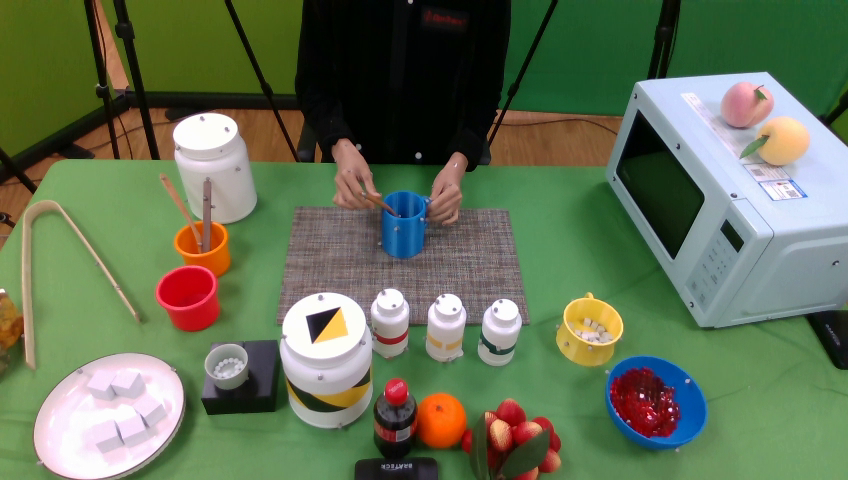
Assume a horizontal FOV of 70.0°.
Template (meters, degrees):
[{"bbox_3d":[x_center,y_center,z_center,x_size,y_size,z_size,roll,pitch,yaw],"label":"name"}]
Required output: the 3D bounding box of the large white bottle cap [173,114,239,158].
[{"bbox_3d":[-0.403,-0.195,1.122,0.115,0.018,0.114,2,47,-2],"label":"large white bottle cap"}]

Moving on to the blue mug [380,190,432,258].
[{"bbox_3d":[-0.030,-0.037,1.169,0.116,0.106,0.082,-29,55,-29],"label":"blue mug"}]

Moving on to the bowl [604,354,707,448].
[{"bbox_3d":[0.346,0.261,0.937,0.151,0.077,0.150,2,46,-2],"label":"bowl"}]

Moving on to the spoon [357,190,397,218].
[{"bbox_3d":[-0.068,-0.054,1.121,0.021,0.195,0.041,-48,55,1],"label":"spoon"}]

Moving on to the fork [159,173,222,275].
[{"bbox_3d":[-0.427,-0.029,1.103,0.028,0.018,0.207,-31,99,-30],"label":"fork"}]

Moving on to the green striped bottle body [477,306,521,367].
[{"bbox_3d":[0.124,0.151,0.995,0.063,0.120,0.063,2,46,-2],"label":"green striped bottle body"}]

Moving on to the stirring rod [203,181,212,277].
[{"bbox_3d":[-0.396,-0.021,1.108,0.014,0.006,0.176,-1,89,-1],"label":"stirring rod"}]

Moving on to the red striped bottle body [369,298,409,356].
[{"bbox_3d":[-0.058,0.134,0.997,0.063,0.120,0.062,4,47,-4],"label":"red striped bottle body"}]

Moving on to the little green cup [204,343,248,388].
[{"bbox_3d":[-0.294,0.190,0.909,0.061,0.039,0.061,1,48,-1],"label":"little green cup"}]

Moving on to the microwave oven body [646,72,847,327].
[{"bbox_3d":[0.607,-0.090,1.164,0.326,0.261,0.438,-7,46,-10],"label":"microwave oven body"}]

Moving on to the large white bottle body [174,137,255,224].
[{"bbox_3d":[-0.408,-0.136,1.183,0.131,0.185,0.130,2,46,-2],"label":"large white bottle body"}]

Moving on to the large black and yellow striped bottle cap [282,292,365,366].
[{"bbox_3d":[-0.139,0.121,0.841,0.115,0.019,0.114,3,47,-3],"label":"large black and yellow striped bottle cap"}]

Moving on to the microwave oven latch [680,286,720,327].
[{"bbox_3d":[0.494,0.119,1.088,0.030,0.029,0.078,-6,46,-9],"label":"microwave oven latch"}]

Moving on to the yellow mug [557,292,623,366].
[{"bbox_3d":[0.285,0.145,1.051,0.100,0.064,0.130,7,45,4],"label":"yellow mug"}]

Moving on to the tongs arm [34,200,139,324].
[{"bbox_3d":[-0.622,0.034,1.105,0.051,0.026,0.382,-32,56,-26],"label":"tongs arm"}]

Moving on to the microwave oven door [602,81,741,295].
[{"bbox_3d":[0.456,-0.107,1.162,0.039,0.245,0.353,-7,47,-11],"label":"microwave oven door"}]

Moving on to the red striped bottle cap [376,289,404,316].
[{"bbox_3d":[-0.055,0.098,0.958,0.044,0.018,0.044,0,48,0],"label":"red striped bottle cap"}]

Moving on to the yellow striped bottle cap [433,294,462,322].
[{"bbox_3d":[0.037,0.107,0.958,0.044,0.019,0.044,2,45,-2],"label":"yellow striped bottle cap"}]

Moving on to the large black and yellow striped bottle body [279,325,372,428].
[{"bbox_3d":[-0.143,0.181,0.900,0.131,0.185,0.130,2,46,-2],"label":"large black and yellow striped bottle body"}]

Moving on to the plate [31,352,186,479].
[{"bbox_3d":[-0.459,0.262,0.898,0.209,0.038,0.208,2,45,-2],"label":"plate"}]

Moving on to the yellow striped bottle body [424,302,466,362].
[{"bbox_3d":[0.035,0.143,0.995,0.063,0.121,0.062,3,46,-2],"label":"yellow striped bottle body"}]

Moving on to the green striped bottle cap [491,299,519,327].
[{"bbox_3d":[0.128,0.115,0.958,0.044,0.020,0.044,1,47,-1],"label":"green striped bottle cap"}]

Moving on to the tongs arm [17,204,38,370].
[{"bbox_3d":[-0.698,0.069,1.069,0.028,0.028,0.385,-20,50,-13],"label":"tongs arm"}]
